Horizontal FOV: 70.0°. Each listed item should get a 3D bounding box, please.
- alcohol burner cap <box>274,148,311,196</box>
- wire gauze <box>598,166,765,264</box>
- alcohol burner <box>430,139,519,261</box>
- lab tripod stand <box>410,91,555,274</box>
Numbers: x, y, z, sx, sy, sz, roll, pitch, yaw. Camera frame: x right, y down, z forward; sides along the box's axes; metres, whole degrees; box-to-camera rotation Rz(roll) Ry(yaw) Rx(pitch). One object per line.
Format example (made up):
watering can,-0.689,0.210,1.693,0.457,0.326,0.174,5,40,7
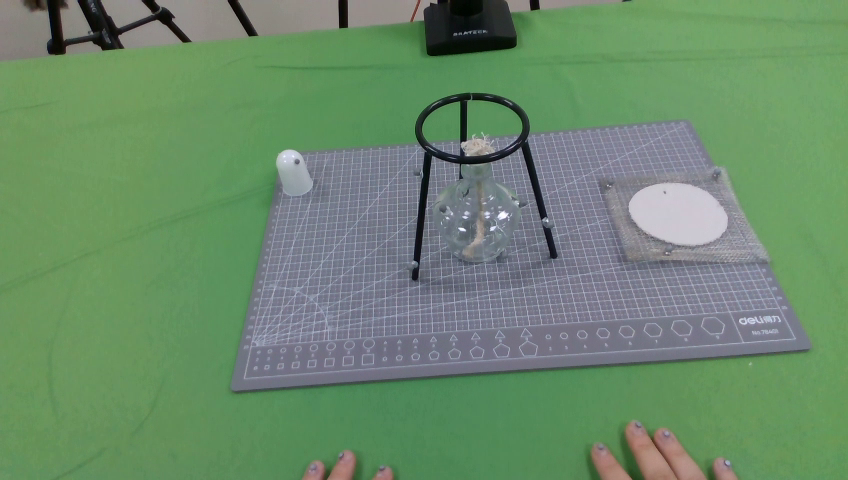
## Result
alcohol burner cap,-0.137,-0.073,0.623,0.034,0.048,0.033,-2,47,3
wire gauze,0.235,-0.025,0.564,0.125,0.011,0.120,-1,47,2
alcohol burner,0.044,-0.038,0.522,0.078,0.120,0.077,-2,46,2
lab tripod stand,0.044,-0.048,0.517,0.148,0.133,0.147,-2,45,2
